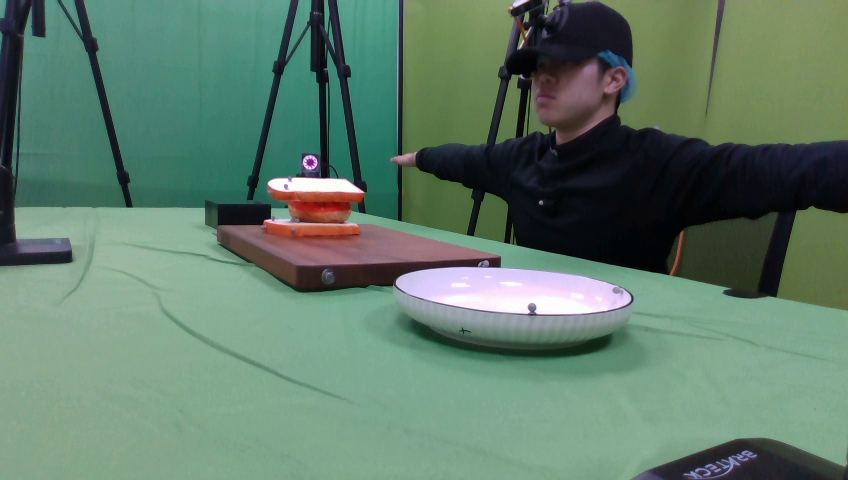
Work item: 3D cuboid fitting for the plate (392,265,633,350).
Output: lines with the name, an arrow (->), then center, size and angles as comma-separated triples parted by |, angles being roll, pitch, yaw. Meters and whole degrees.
plate -> 0.074, 0.057, 0.533 | 0.209, 0.038, 0.209 | 3, 7, 0

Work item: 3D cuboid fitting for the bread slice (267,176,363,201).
bread slice -> -0.169, -0.078, 0.923 | 0.135, 0.018, 0.106 | -4, 18, -26

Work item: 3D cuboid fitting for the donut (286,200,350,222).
donut -> -0.165, -0.051, 0.938 | 0.099, 0.048, 0.099 | 4, 8, 0

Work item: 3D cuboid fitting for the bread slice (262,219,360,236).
bread slice -> -0.179, -0.021, 0.931 | 0.132, 0.019, 0.104 | -1, 7, -35
